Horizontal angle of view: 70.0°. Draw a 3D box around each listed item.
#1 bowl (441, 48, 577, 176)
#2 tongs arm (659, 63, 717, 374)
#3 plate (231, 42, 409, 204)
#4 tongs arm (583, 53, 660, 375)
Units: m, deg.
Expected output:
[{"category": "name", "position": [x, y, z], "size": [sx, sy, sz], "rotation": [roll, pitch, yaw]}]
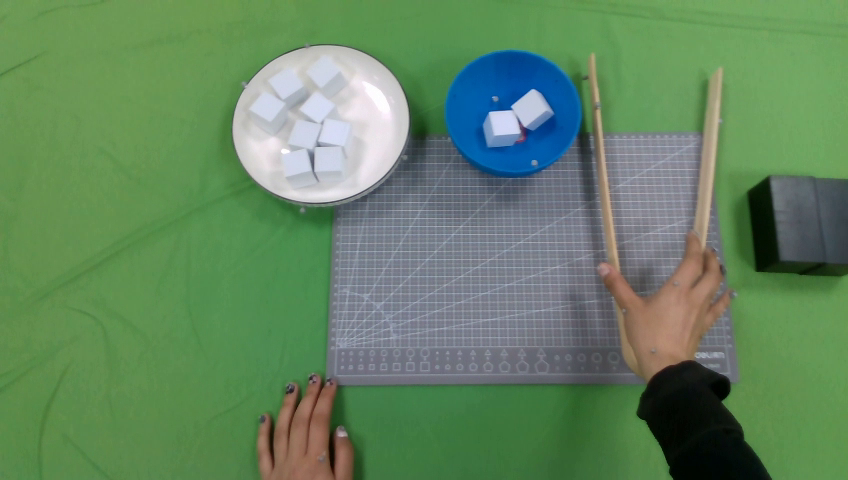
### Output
[{"category": "bowl", "position": [0.093, -0.135, 0.700], "size": [0.151, 0.077, 0.150], "rotation": [0, 74, 0]}, {"category": "tongs arm", "position": [0.307, -0.033, 0.697], "size": [0.028, 0.028, 0.385], "rotation": [15, 75, -3]}, {"category": "plate", "position": [-0.121, -0.137, 0.721], "size": [0.208, 0.039, 0.206], "rotation": [0, 74, 1]}, {"category": "tongs arm", "position": [0.223, -0.040, 0.696], "size": [0.051, 0.026, 0.382], "rotation": [1, 75, -4]}]
